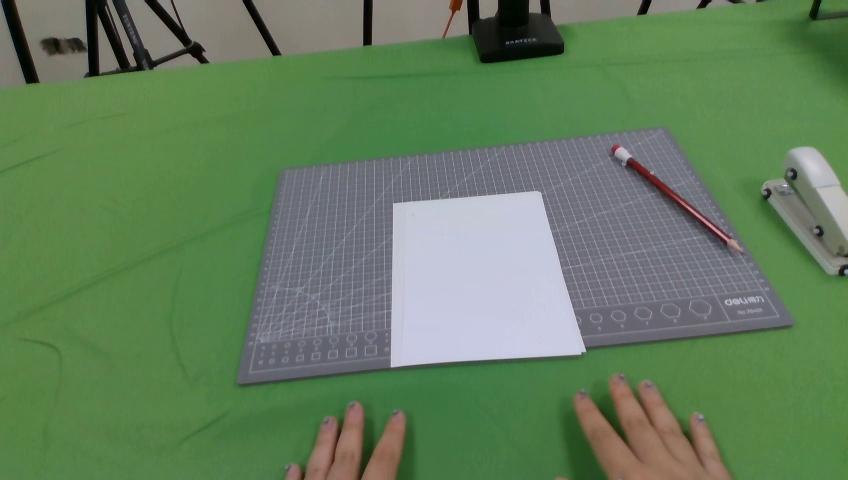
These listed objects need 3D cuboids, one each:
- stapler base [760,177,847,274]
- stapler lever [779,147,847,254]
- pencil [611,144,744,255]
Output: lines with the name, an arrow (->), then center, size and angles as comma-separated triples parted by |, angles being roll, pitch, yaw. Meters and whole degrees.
stapler base -> 0.361, -0.023, 0.560 | 0.041, 0.025, 0.129 | -9, 44, 1
stapler lever -> 0.359, -0.039, 0.542 | 0.027, 0.040, 0.117 | -9, 43, 1
pencil -> 0.246, -0.045, 0.603 | 0.012, 0.012, 0.191 | -19, 44, -14
